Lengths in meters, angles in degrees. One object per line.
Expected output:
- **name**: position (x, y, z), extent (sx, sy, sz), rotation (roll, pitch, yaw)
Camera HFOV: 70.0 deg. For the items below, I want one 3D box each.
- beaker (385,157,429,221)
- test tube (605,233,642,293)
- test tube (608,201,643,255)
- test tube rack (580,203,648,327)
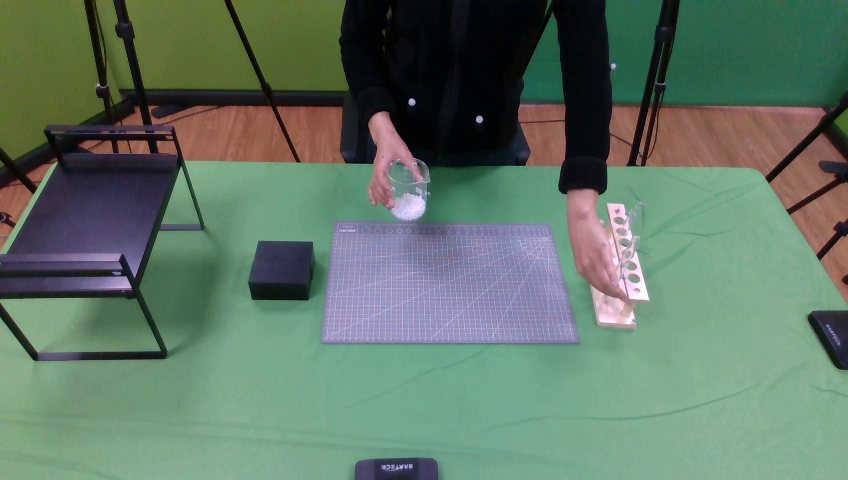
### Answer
- **beaker**: position (-0.029, -0.090, 1.106), extent (0.084, 0.101, 0.074), rotation (21, 51, 17)
- **test tube**: position (0.337, 0.041, 1.029), extent (0.017, 0.151, 0.017), rotation (4, 49, -4)
- **test tube**: position (0.374, -0.019, 1.133), extent (0.017, 0.151, 0.017), rotation (3, 52, -4)
- **test tube rack**: position (0.352, 0.041, 1.143), extent (0.067, 0.085, 0.241), rotation (4, 46, 0)
